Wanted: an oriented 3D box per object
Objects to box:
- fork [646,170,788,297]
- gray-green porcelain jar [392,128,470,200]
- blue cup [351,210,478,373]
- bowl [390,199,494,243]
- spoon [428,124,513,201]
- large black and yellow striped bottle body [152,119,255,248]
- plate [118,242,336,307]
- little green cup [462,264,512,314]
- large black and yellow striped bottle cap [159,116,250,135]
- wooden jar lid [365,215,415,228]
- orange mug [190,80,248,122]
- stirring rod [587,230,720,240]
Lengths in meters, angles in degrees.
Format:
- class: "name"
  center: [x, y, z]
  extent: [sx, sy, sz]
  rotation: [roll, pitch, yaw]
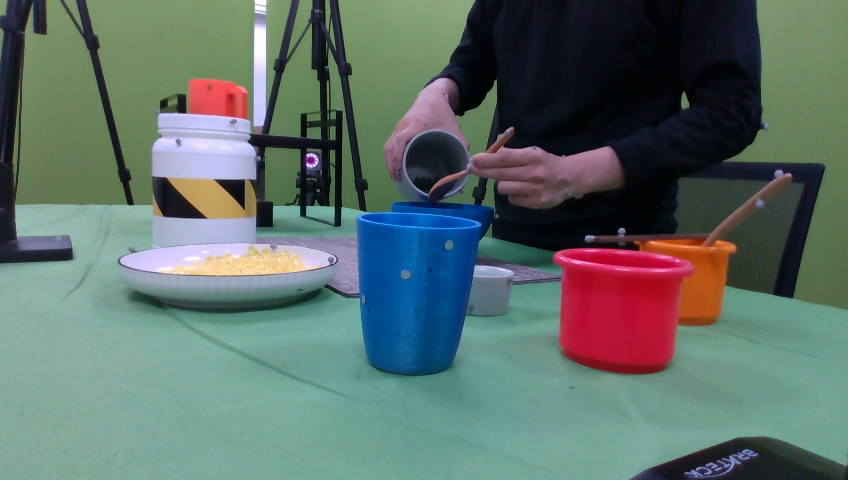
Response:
- class: "fork"
  center: [0.256, 0.004, 0.543]
  extent: [0.028, 0.018, 0.207]
  rotation: [3, -36, -9]
- class: "gray-green porcelain jar"
  center: [0.006, -0.113, 0.959]
  extent: [0.106, 0.105, 0.126]
  rotation: [1, -2, -12]
- class: "blue cup"
  center: [-0.009, 0.034, 0.414]
  extent: [0.093, 0.100, 0.092]
  rotation: [3, 8, 0]
- class: "bowl"
  center: [0.024, -0.015, 0.871]
  extent: [0.151, 0.077, 0.151]
  rotation: [3, 7, 0]
- class: "spoon"
  center: [0.061, -0.101, 0.815]
  extent: [0.042, 0.021, 0.193]
  rotation: [-19, -9, -38]
- class: "large black and yellow striped bottle body"
  center: [-0.296, -0.070, 0.819]
  extent: [0.131, 0.184, 0.130]
  rotation: [2, 7, 0]
- class: "plate"
  center: [-0.194, 0.033, 0.615]
  extent: [0.209, 0.038, 0.209]
  rotation: [2, 7, 0]
- class: "little green cup"
  center: [0.053, 0.047, 0.580]
  extent: [0.061, 0.038, 0.061]
  rotation: [3, 8, 0]
- class: "large black and yellow striped bottle cap"
  center: [-0.292, -0.153, 0.810]
  extent: [0.115, 0.019, 0.115]
  rotation: [3, 8, 0]
- class: "wooden jar lid"
  center: [-0.073, -0.040, 1.291]
  extent: [0.108, 0.020, 0.108]
  rotation: [3, 8, 0]
- class: "orange mug"
  center: [-0.394, -0.257, 1.173]
  extent: [0.126, 0.100, 0.084]
  rotation: [1, 6, 25]
- class: "stirring rod"
  center: [0.226, -0.005, 0.587]
  extent: [0.177, 0.006, 0.014]
  rotation: [-2, 9, -29]
